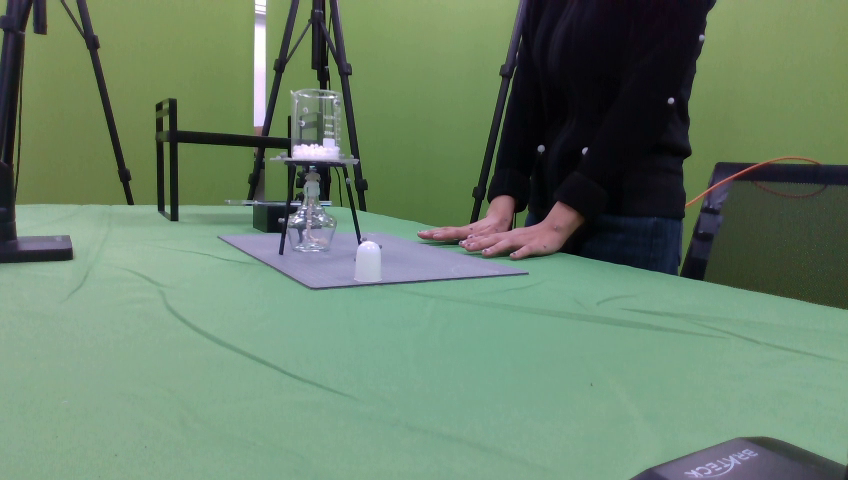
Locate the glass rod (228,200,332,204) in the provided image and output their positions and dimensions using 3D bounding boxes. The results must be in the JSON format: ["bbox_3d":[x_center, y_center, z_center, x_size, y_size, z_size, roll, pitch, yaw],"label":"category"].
[{"bbox_3d":[-0.270,-0.071,1.149,0.201,0.008,0.008,-1,8,-30],"label":"glass rod"}]

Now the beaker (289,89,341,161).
[{"bbox_3d":[-0.161,-0.164,0.879,0.073,0.100,0.084,6,8,34],"label":"beaker"}]

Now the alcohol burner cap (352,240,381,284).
[{"bbox_3d":[-0.065,0.023,0.690,0.034,0.048,0.034,3,9,0],"label":"alcohol burner cap"}]

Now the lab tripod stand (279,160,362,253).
[{"bbox_3d":[-0.166,-0.052,0.897,0.148,0.131,0.148,0,7,0],"label":"lab tripod stand"}]

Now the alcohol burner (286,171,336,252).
[{"bbox_3d":[-0.170,-0.043,0.898,0.078,0.119,0.078,2,5,0],"label":"alcohol burner"}]

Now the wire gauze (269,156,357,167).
[{"bbox_3d":[-0.159,-0.116,0.886,0.122,0.011,0.125,2,4,-9],"label":"wire gauze"}]
